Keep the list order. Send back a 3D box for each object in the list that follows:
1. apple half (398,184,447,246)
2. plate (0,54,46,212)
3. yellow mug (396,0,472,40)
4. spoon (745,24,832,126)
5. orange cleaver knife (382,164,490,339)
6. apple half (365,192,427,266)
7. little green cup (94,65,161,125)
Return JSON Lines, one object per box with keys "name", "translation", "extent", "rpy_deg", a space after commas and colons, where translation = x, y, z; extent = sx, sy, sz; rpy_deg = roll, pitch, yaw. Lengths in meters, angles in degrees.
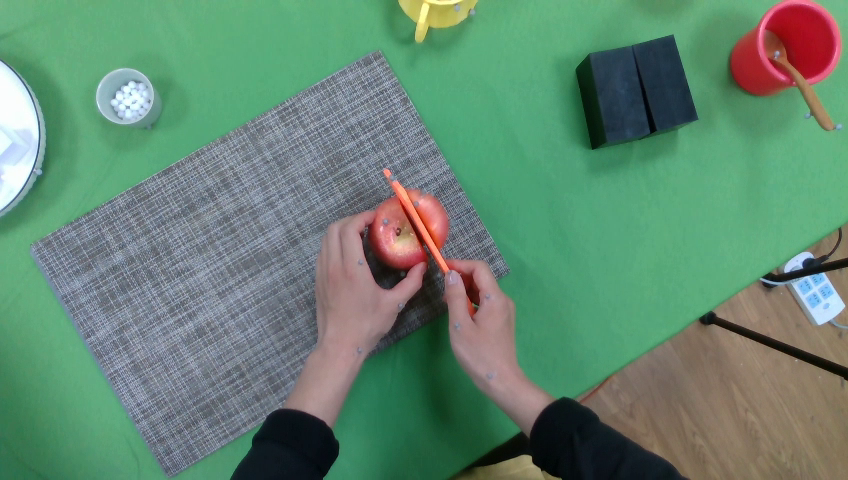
{"name": "apple half", "translation": [0.003, -0.032, 0.668], "extent": [0.033, 0.081, 0.081], "rpy_deg": [-33, 90, -13]}
{"name": "plate", "translation": [-0.513, -0.114, 0.655], "extent": [0.208, 0.039, 0.207], "rpy_deg": [0, 88, -4]}
{"name": "yellow mug", "translation": [0.009, -0.289, 0.681], "extent": [0.100, 0.064, 0.130], "rpy_deg": [17, 88, -3]}
{"name": "spoon", "translation": [0.400, -0.186, 0.665], "extent": [0.041, 0.022, 0.192], "rpy_deg": [5, 43, -3]}
{"name": "orange cleaver knife", "translation": [0.012, 0.013, 0.642], "extent": [0.012, 0.076, 0.212], "rpy_deg": [-31, 108, -1]}
{"name": "apple half", "translation": [-0.036, -0.007, 0.662], "extent": [0.053, 0.074, 0.081], "rpy_deg": [-27, 96, 2]}
{"name": "little green cup", "translation": [-0.324, -0.157, 0.669], "extent": [0.061, 0.038, 0.061], "rpy_deg": [0, 88, -3]}
